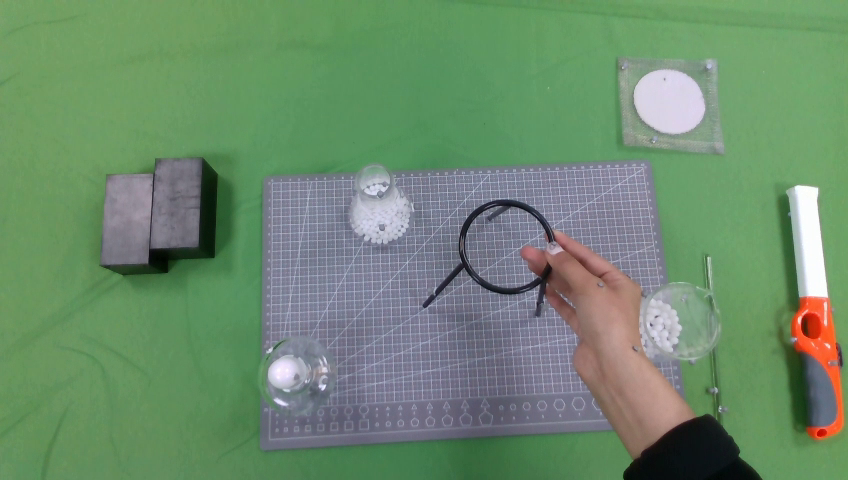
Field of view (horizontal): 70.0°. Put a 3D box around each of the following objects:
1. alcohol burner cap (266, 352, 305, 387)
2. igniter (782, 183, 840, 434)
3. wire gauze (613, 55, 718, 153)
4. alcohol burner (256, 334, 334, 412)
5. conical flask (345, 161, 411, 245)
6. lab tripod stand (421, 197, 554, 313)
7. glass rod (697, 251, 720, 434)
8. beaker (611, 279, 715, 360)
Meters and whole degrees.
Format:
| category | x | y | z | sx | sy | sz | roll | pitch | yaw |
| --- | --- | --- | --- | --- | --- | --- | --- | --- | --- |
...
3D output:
| category | x | y | z | sx | sy | sz | roll | pitch | yaw |
| --- | --- | --- | --- | --- | --- | --- | --- | --- | --- |
| alcohol burner cap | -0.129 | 0.119 | 0.558 | 0.034 | 0.048 | 0.033 | 1 | 80 | -5 |
| igniter | 0.424 | 0.071 | 0.667 | 0.057 | 0.025 | 0.275 | 5 | 77 | -11 |
| wire gauze | 0.291 | -0.166 | 0.729 | 0.125 | 0.011 | 0.121 | 3 | 77 | -2 |
| alcohol burner | -0.130 | 0.129 | 0.593 | 0.078 | 0.119 | 0.077 | 0 | 76 | 1 |
| conical flask | -0.051 | -0.044 | 0.630 | 0.075 | 0.122 | 0.075 | 0 | 76 | -1 |
| lab tripod stand | 0.067 | 0.024 | 0.608 | 0.148 | 0.132 | 0.147 | 1 | 76 | -4 |
| glass rod | 0.313 | 0.109 | 0.665 | 0.008 | 0.008 | 0.198 | 1 | 77 | -1 |
| beaker | 0.241 | 0.083 | 0.620 | 0.084 | 0.100 | 0.073 | -39 | 80 | -10 |
